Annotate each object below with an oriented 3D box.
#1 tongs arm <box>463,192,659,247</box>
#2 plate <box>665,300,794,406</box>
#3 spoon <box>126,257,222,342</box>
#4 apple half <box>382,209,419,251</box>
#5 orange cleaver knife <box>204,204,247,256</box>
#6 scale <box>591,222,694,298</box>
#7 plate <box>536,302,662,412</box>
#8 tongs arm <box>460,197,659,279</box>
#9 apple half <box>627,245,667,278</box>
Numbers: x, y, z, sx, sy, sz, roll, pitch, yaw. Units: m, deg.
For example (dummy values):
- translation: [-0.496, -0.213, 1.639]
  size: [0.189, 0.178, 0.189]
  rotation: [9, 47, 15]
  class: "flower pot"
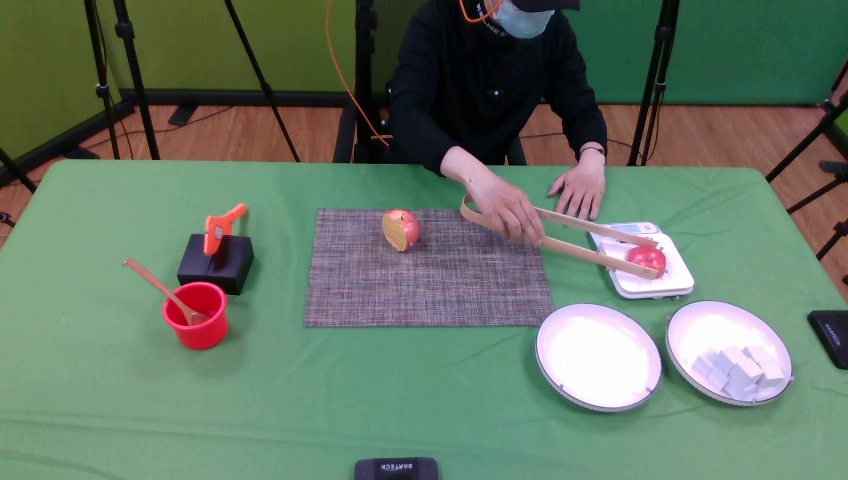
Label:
- translation: [0.263, -0.035, 1.175]
  size: [0.387, 0.028, 0.028]
  rotation: [15, 52, 1]
  class: "tongs arm"
- translation: [0.513, 0.194, 1.034]
  size: [0.208, 0.039, 0.206]
  rotation: [2, 46, -2]
  class: "plate"
- translation: [-0.408, 0.096, 0.990]
  size: [0.194, 0.021, 0.041]
  rotation: [50, 53, -18]
  class: "spoon"
- translation: [-0.039, -0.022, 1.175]
  size: [0.053, 0.075, 0.080]
  rotation: [-27, 49, -31]
  class: "apple half"
- translation: [-0.374, -0.024, 1.146]
  size: [0.012, 0.077, 0.211]
  rotation: [4, 14, 1]
  class: "orange cleaver knife"
- translation: [0.424, 0.031, 1.189]
  size: [0.149, 0.032, 0.199]
  rotation: [-3, 46, -7]
  class: "scale"
- translation: [0.288, 0.197, 1.016]
  size: [0.209, 0.038, 0.208]
  rotation: [2, 46, -2]
  class: "plate"
- translation: [0.251, -0.005, 1.144]
  size: [0.385, 0.026, 0.050]
  rotation: [16, 48, 3]
  class: "tongs arm"
- translation: [0.425, 0.033, 1.146]
  size: [0.081, 0.033, 0.081]
  rotation: [3, 46, -3]
  class: "apple half"
